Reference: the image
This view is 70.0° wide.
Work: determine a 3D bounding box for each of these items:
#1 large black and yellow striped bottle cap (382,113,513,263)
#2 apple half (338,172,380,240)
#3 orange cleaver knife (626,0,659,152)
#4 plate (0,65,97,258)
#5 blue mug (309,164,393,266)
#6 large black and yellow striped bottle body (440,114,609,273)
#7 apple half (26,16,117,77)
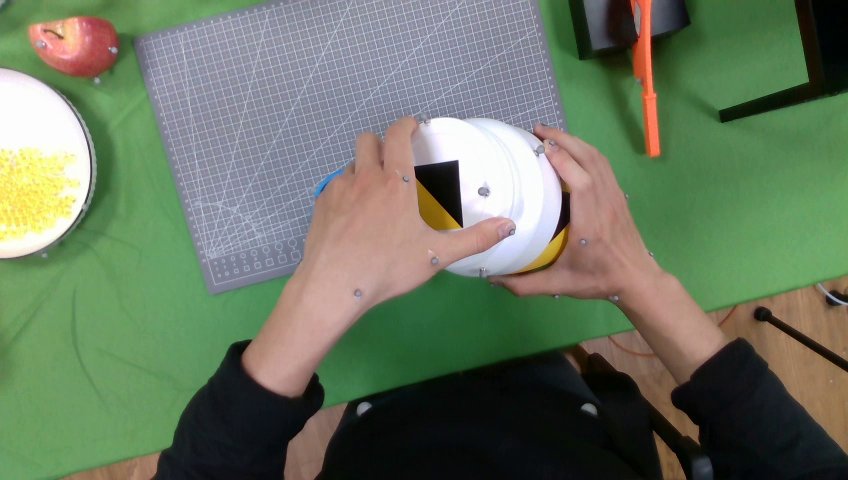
[{"bbox_3d":[0.014,-0.039,0.462,0.114,0.019,0.115,0,91,39],"label":"large black and yellow striped bottle cap"},{"bbox_3d":[-0.063,-0.033,0.645,0.033,0.081,0.081,17,94,5],"label":"apple half"},{"bbox_3d":[0.236,-0.200,0.661,0.012,0.076,0.213,-13,121,8],"label":"orange cleaver knife"},{"bbox_3d":[-0.464,-0.085,0.669,0.209,0.038,0.209,0,95,-1],"label":"plate"},{"bbox_3d":[-0.065,-0.023,0.652,0.082,0.105,0.117,-30,95,1],"label":"blue mug"},{"bbox_3d":[0.067,-0.037,0.530,0.130,0.185,0.130,0,90,38],"label":"large black and yellow striped bottle body"},{"bbox_3d":[-0.369,-0.202,0.646,0.081,0.074,0.053,-11,99,-5],"label":"apple half"}]
